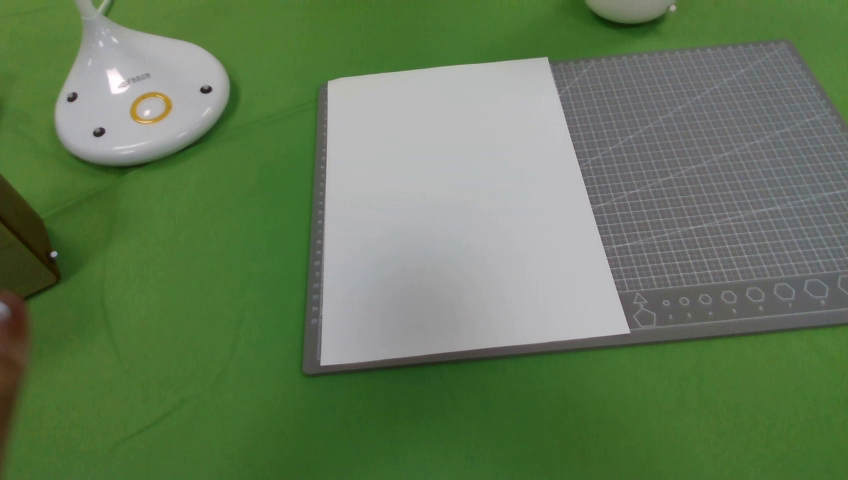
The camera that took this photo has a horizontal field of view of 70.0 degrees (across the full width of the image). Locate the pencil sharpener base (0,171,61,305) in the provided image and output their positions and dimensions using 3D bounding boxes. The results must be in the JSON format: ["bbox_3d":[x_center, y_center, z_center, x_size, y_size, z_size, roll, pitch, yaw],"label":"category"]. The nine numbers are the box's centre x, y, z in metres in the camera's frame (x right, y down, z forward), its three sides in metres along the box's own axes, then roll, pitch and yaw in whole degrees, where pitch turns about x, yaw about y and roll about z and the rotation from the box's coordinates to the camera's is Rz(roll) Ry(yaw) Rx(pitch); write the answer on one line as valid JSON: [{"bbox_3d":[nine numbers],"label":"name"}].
[{"bbox_3d":[-0.326,-0.013,0.437,0.061,0.108,0.076,-29,57,-15],"label":"pencil sharpener base"}]

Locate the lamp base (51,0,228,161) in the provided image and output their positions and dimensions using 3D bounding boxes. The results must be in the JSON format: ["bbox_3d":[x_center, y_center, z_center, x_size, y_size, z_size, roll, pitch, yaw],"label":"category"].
[{"bbox_3d":[-0.278,-0.186,0.511,0.160,0.182,0.177,-38,58,-21],"label":"lamp base"}]

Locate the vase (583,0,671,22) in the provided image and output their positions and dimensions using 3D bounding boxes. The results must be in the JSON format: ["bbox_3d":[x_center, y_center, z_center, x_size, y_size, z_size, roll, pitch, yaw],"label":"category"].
[{"bbox_3d":[0.197,-0.304,0.547,0.098,0.202,0.097,-3,53,4],"label":"vase"}]
